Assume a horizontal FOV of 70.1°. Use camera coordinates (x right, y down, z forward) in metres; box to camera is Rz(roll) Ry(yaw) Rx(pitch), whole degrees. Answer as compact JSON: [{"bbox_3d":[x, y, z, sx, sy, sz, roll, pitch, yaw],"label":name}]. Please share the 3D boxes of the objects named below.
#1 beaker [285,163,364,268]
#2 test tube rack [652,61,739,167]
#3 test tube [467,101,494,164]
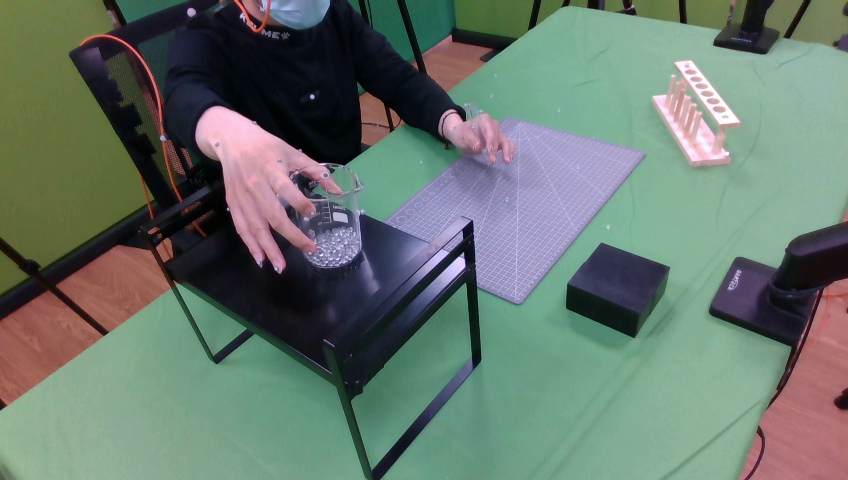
[{"bbox_3d":[-0.106,-0.025,0.675,0.084,0.100,0.073,1,39,2],"label":"beaker"},{"bbox_3d":[0.499,-0.242,1.130,0.067,0.085,0.241,-5,41,4],"label":"test tube rack"},{"bbox_3d":[0.095,-0.174,1.001,0.017,0.151,0.017,-8,58,14],"label":"test tube"}]
